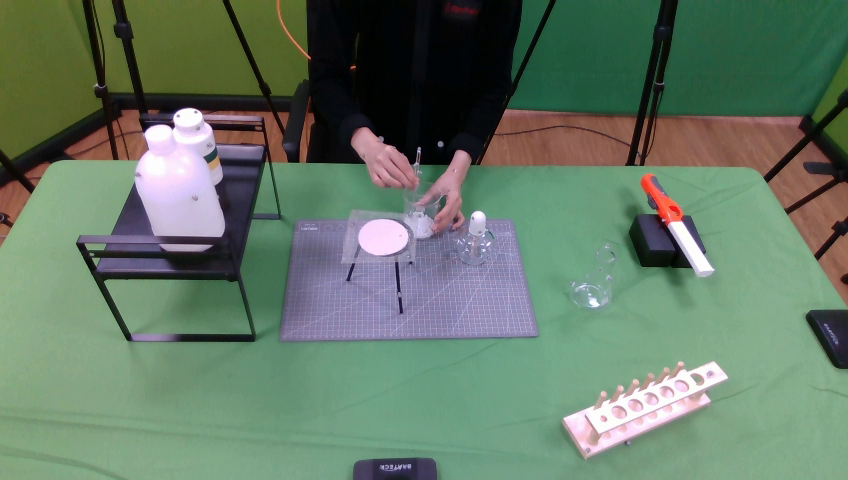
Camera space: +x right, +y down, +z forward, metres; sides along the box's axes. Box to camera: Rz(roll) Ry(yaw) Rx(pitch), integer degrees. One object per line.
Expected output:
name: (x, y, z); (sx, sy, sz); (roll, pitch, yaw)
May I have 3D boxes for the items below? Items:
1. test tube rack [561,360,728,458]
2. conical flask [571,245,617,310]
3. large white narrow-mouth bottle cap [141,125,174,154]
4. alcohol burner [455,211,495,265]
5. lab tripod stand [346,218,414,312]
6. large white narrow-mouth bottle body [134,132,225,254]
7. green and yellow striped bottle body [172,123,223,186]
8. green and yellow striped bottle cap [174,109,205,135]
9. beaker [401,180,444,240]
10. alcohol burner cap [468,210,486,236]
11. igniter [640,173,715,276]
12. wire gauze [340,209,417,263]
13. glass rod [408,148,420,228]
test tube rack: (0.341, 0.247, 0.940); (0.243, 0.085, 0.066); (-15, 49, -18)
conical flask: (0.313, 0.064, 1.089); (0.075, 0.122, 0.075); (2, 46, -2)
large white narrow-mouth bottle cap: (-0.356, -0.134, 0.811); (0.038, 0.024, 0.037); (1, 48, -1)
alcohol burner: (0.097, -0.010, 1.147); (0.078, 0.120, 0.077); (1, 47, -1)
lab tripod stand: (-0.070, 0.037, 1.075); (0.148, 0.132, 0.147); (1, 47, -1)
large white narrow-mouth bottle body: (-0.358, -0.075, 0.875); (0.102, 0.195, 0.101); (1, 48, -1)
green and yellow striped bottle body: (-0.373, -0.148, 0.994); (0.063, 0.120, 0.063); (2, 46, -2)
green and yellow striped bottle cap: (-0.369, -0.186, 0.954); (0.045, 0.020, 0.045); (3, 50, -3)
beaker: (-0.005, -0.057, 1.194); (0.084, 0.101, 0.073); (-7, 48, -11)
alcohol burner cap: (0.099, -0.034, 1.119); (0.034, 0.048, 0.033); (0, 53, 0)
igniter: (0.495, -0.039, 1.204); (0.057, 0.025, 0.274); (-2, 47, -13)
wire gauze: (-0.074, -0.007, 1.023); (0.121, 0.011, 0.124); (3, 46, 0)
glass rod: (-0.020, -0.091, 1.139); (0.008, 0.200, 0.008); (4, 46, -4)
